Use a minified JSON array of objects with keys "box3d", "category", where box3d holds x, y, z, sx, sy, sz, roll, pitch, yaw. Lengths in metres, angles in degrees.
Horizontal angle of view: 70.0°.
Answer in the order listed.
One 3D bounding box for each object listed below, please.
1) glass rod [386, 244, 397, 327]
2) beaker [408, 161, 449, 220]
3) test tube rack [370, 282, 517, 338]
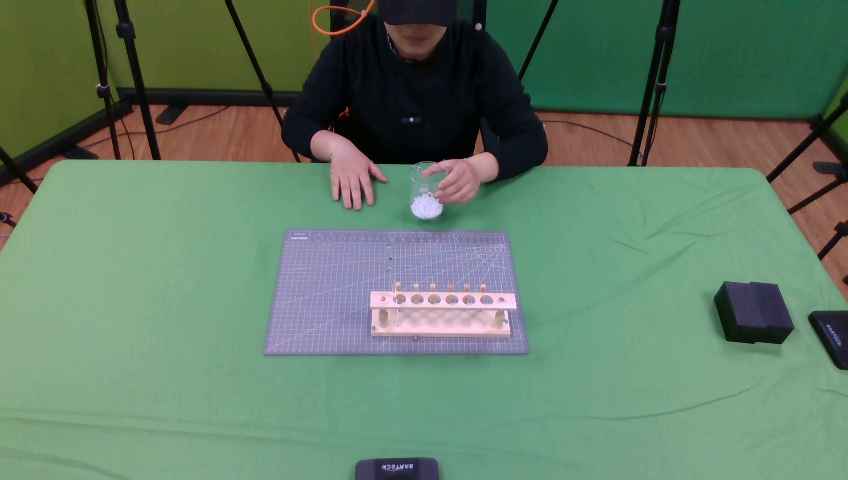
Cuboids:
[{"box3d":[-0.051,0.078,0.979,0.008,0.201,0.008,-1,45,1],"category":"glass rod"},{"box3d":[0.008,-0.096,1.211,0.084,0.101,0.073,-16,49,-18],"category":"beaker"},{"box3d":[0.030,0.116,1.041,0.242,0.085,0.066,1,46,-3],"category":"test tube rack"}]
